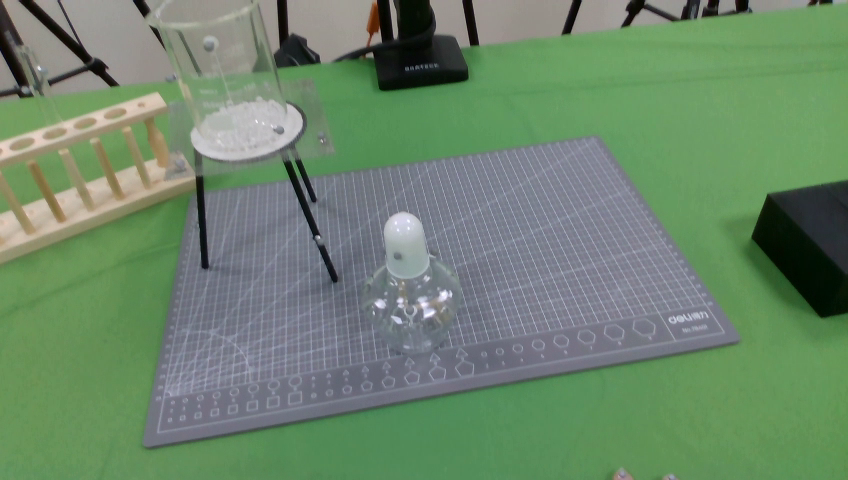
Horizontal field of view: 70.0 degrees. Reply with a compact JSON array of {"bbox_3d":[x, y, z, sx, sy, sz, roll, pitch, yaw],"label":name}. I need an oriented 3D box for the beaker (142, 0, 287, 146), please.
[{"bbox_3d":[-0.148,-0.127,0.445,0.084,0.101,0.073,-7,42,-1],"label":"beaker"}]

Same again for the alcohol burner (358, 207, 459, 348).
[{"bbox_3d":[-0.012,0.025,0.455,0.078,0.120,0.077,-2,41,2],"label":"alcohol burner"}]

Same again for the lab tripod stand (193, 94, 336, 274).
[{"bbox_3d":[-0.138,-0.046,0.526,0.148,0.133,0.147,-2,45,3],"label":"lab tripod stand"}]

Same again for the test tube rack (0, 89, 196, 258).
[{"bbox_3d":[-0.362,-0.063,0.601,0.242,0.086,0.066,-26,47,-22],"label":"test tube rack"}]

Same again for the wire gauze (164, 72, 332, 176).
[{"bbox_3d":[-0.142,-0.093,0.481,0.125,0.011,0.120,-15,42,-7],"label":"wire gauze"}]

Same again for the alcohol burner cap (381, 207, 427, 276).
[{"bbox_3d":[-0.016,-0.002,0.430,0.034,0.048,0.033,-3,45,3],"label":"alcohol burner cap"}]

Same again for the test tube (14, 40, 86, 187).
[{"bbox_3d":[-0.359,-0.117,0.585,0.017,0.151,0.017,0,36,0],"label":"test tube"}]
